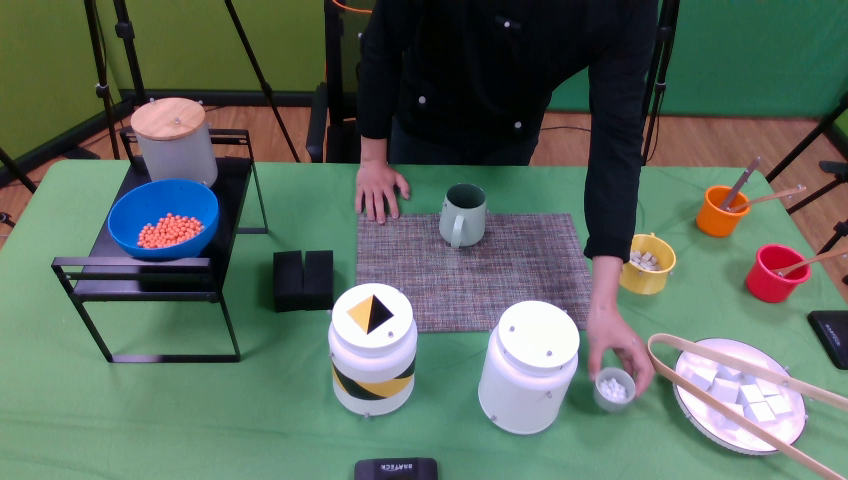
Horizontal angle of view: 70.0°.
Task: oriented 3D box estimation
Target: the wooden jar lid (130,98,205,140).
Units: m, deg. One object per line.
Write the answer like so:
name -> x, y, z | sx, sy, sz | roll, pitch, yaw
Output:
wooden jar lid -> -0.393, -0.183, 0.934 | 0.108, 0.021, 0.107 | 2, 44, -2

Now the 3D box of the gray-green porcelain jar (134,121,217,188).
gray-green porcelain jar -> -0.397, -0.141, 0.980 | 0.106, 0.127, 0.105 | 2, 47, -2

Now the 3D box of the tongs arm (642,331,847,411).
tongs arm -> 0.546, 0.227, 0.968 | 0.384, 0.026, 0.050 | 22, 52, 13

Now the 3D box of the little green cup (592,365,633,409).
little green cup -> 0.292, 0.232, 0.949 | 0.061, 0.039, 0.061 | 2, 45, -1

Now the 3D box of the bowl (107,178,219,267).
bowl -> -0.374, -0.014, 0.894 | 0.151, 0.077, 0.150 | 2, 46, -2

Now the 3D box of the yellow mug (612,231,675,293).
yellow mug -> 0.423, 0.033, 1.168 | 0.100, 0.064, 0.130 | 18, 46, 13

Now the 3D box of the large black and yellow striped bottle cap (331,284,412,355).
large black and yellow striped bottle cap -> -0.073, 0.111, 0.858 | 0.115, 0.019, 0.114 | 2, 46, -1

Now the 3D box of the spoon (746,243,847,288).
spoon -> 0.702, 0.044, 1.126 | 0.194, 0.022, 0.041 | -29, 38, 30

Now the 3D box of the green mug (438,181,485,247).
green mug -> 0.071, -0.039, 1.177 | 0.092, 0.105, 0.124 | 12, 47, 7

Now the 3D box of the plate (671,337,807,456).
plate -> 0.503, 0.254, 0.984 | 0.208, 0.039, 0.206 | 2, 46, -2

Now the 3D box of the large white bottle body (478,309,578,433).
large white bottle body -> 0.156, 0.192, 0.913 | 0.131, 0.185, 0.130 | 2, 46, -2

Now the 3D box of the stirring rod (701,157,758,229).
stirring rod -> 0.634, -0.097, 1.257 | 0.014, 0.006, 0.176 | 38, 97, 29

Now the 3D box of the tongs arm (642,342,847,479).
tongs arm -> 0.504, 0.279, 0.918 | 0.386, 0.028, 0.028 | 34, 59, 22

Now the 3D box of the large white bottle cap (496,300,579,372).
large white bottle cap -> 0.160, 0.133, 0.853 | 0.115, 0.018, 0.114 | 3, 46, -3

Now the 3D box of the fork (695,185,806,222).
fork -> 0.657, -0.074, 1.229 | 0.207, 0.019, 0.028 | -23, 36, 37

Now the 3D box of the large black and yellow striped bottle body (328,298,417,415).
large black and yellow striped bottle body -> -0.078, 0.167, 0.920 | 0.131, 0.185, 0.130 | 2, 46, -2
